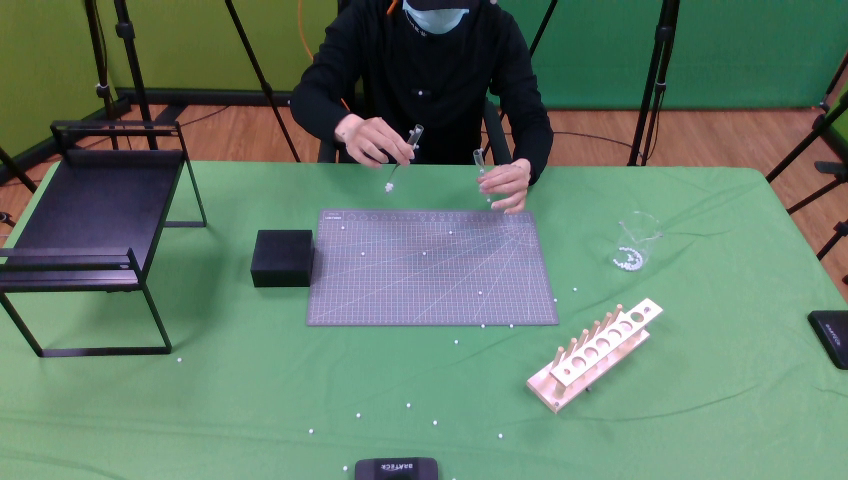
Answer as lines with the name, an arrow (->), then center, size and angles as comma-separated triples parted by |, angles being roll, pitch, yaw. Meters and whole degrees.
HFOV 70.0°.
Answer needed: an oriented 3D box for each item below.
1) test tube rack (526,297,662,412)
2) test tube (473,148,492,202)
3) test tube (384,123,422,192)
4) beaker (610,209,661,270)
test tube rack -> 0.284, 0.176, 1.007 | 0.242, 0.085, 0.066 | -29, 54, -27
test tube -> 0.112, -0.120, 1.151 | 0.017, 0.151, 0.017 | -7, 55, 11
test tube -> -0.039, -0.144, 1.080 | 0.017, 0.150, 0.017 | 19, 38, -15
beaker -> 0.404, 0.005, 1.170 | 0.074, 0.101, 0.083 | 19, 49, 15
